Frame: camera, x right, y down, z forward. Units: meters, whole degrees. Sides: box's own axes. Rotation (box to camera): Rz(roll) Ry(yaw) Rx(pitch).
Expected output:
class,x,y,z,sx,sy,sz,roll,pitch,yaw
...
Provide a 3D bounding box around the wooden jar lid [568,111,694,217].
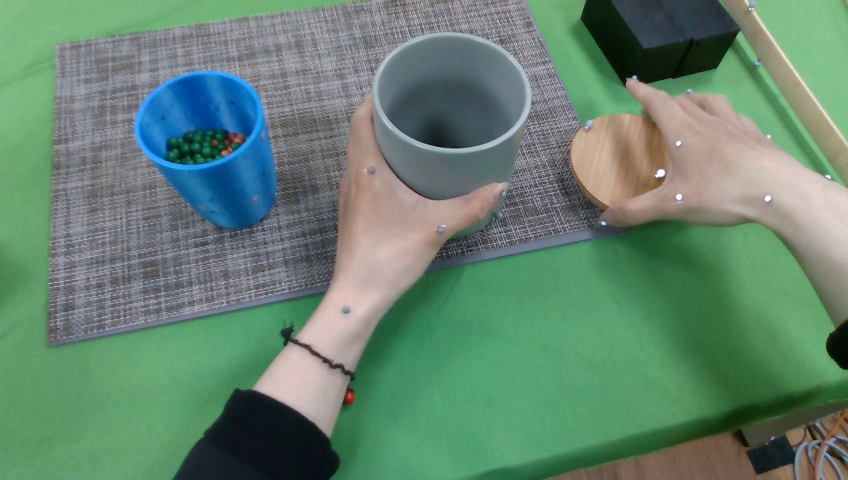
class,x,y,z,sx,sy,sz,roll,pitch,yaw
wooden jar lid,0.174,-0.063,0.517,0.108,0.021,0.107,3,60,-4

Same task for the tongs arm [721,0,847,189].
class,x,y,z,sx,sy,sz,roll,pitch,yaw
tongs arm,0.365,-0.122,0.553,0.051,0.027,0.381,-8,63,-13

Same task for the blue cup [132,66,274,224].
class,x,y,z,sx,sy,sz,roll,pitch,yaw
blue cup,-0.152,-0.061,0.450,0.093,0.101,0.092,1,63,-1

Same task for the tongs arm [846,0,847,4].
class,x,y,z,sx,sy,sz,roll,pitch,yaw
tongs arm,0.448,-0.129,0.566,0.028,0.028,0.384,6,62,-9

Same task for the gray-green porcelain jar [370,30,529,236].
class,x,y,z,sx,sy,sz,roll,pitch,yaw
gray-green porcelain jar,0.015,-0.071,0.450,0.106,0.127,0.105,1,61,-2
